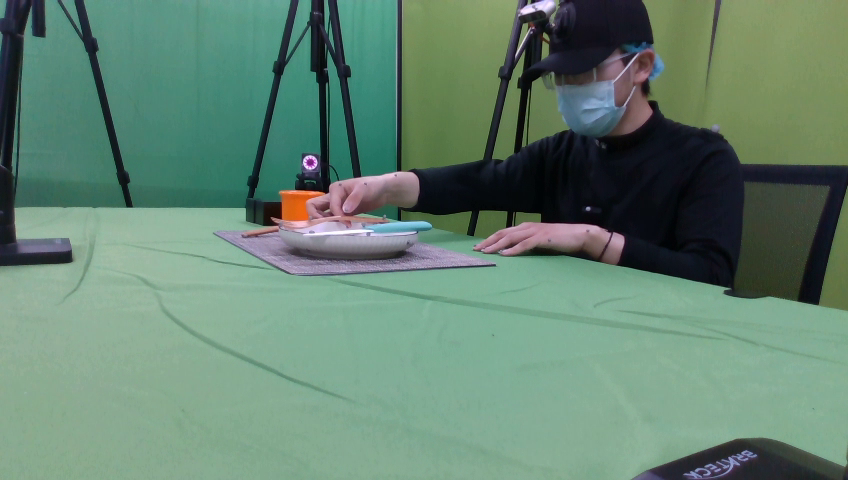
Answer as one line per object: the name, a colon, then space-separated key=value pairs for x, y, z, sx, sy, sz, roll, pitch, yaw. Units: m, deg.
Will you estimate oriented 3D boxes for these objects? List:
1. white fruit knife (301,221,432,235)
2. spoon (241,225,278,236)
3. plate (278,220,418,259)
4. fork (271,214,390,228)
white fruit knife: x=-0.079 y=-0.016 z=0.858 sx=0.208 sy=0.016 sz=0.027 roll=-4 pitch=12 yaw=-38
spoon: x=-0.232 y=-0.021 z=1.082 sx=0.195 sy=0.021 sz=0.041 roll=-3 pitch=27 yaw=-37
plate: x=-0.114 y=-0.002 z=0.914 sx=0.209 sy=0.038 sz=0.209 roll=2 pitch=7 yaw=0
fork: x=-0.143 y=-0.031 z=0.962 sx=0.208 sy=0.018 sz=0.028 roll=-5 pitch=17 yaw=-35
